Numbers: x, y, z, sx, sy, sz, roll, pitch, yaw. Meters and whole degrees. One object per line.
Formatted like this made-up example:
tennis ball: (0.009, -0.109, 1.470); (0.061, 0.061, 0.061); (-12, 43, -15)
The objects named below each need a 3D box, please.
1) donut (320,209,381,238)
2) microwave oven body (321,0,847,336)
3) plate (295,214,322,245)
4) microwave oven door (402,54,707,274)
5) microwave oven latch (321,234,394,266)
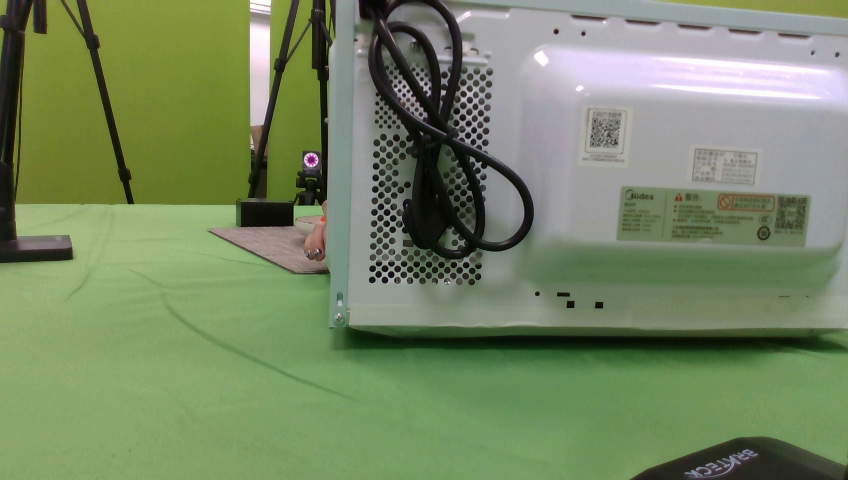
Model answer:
donut: (-0.121, -0.027, 0.995); (0.099, 0.048, 0.099); (2, 5, 0)
microwave oven body: (0.133, -0.062, 0.567); (0.443, 0.260, 0.325); (2, 6, -8)
plate: (-0.107, -0.015, 0.996); (0.209, 0.038, 0.209); (2, 7, 0)
microwave oven door: (0.157, -0.085, 0.717); (0.357, 0.243, 0.039); (1, 8, -8)
microwave oven latch: (-0.075, 0.012, 0.686); (0.079, 0.029, 0.030); (6, 6, 25)
